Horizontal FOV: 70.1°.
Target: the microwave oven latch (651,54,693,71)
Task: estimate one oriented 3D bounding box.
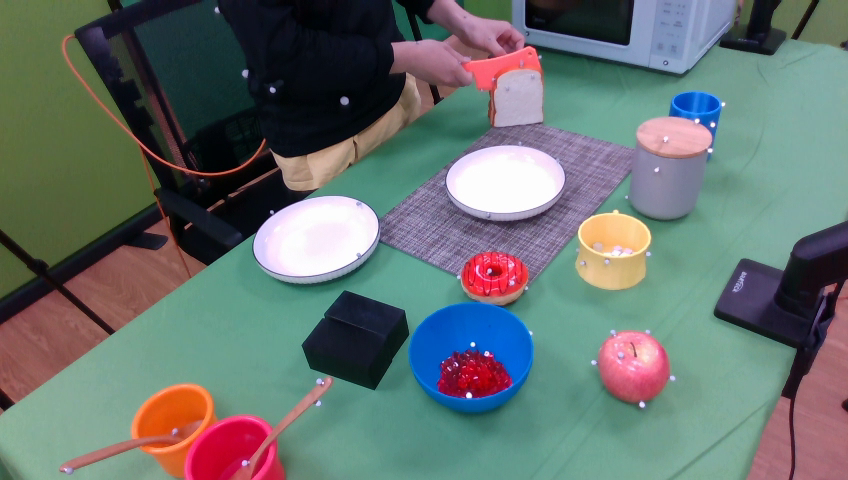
[{"bbox_3d":[0.532,-0.386,1.301,0.078,0.029,0.030,26,51,33],"label":"microwave oven latch"}]

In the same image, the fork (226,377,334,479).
[{"bbox_3d":[-0.163,0.216,0.647,0.207,0.019,0.028,-49,41,16],"label":"fork"}]

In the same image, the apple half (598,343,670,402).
[{"bbox_3d":[0.247,0.161,0.710,0.081,0.075,0.053,2,47,5],"label":"apple half"}]

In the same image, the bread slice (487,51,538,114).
[{"bbox_3d":[0.183,-0.319,1.232,0.107,0.135,0.018,-4,43,0],"label":"bread slice"}]

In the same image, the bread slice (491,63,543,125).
[{"bbox_3d":[0.184,-0.285,1.190,0.105,0.132,0.019,-5,45,3],"label":"bread slice"}]

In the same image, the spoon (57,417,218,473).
[{"bbox_3d":[-0.304,0.221,0.661,0.041,0.195,0.021,19,92,27],"label":"spoon"}]

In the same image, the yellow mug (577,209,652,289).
[{"bbox_3d":[0.279,0.004,0.893,0.099,0.064,0.130,5,41,15],"label":"yellow mug"}]

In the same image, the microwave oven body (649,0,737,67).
[{"bbox_3d":[0.475,-0.602,1.411,0.438,0.261,0.327,23,50,32],"label":"microwave oven body"}]

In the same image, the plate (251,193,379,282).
[{"bbox_3d":[-0.174,-0.001,0.984,0.209,0.038,0.208,-4,40,4],"label":"plate"}]

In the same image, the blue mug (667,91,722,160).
[{"bbox_3d":[0.474,-0.207,1.079,0.082,0.106,0.116,4,42,13],"label":"blue mug"}]

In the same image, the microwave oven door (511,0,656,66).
[{"bbox_3d":[0.351,-0.540,1.349,0.353,0.245,0.039,24,50,31],"label":"microwave oven door"}]

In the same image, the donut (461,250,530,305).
[{"bbox_3d":[0.103,0.053,0.872,0.099,0.048,0.098,-5,40,4],"label":"donut"}]

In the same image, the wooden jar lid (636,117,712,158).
[{"bbox_3d":[0.377,-0.151,0.917,0.108,0.021,0.108,-2,41,3],"label":"wooden jar lid"}]

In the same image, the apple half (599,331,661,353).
[{"bbox_3d":[0.249,0.134,0.738,0.081,0.081,0.032,-2,46,7],"label":"apple half"}]

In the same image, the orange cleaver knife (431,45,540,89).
[{"bbox_3d":[0.121,-0.327,1.164,0.211,0.077,0.012,-6,43,5],"label":"orange cleaver knife"}]

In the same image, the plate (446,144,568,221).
[{"bbox_3d":[0.142,-0.096,1.045,0.207,0.039,0.206,-4,40,4],"label":"plate"}]

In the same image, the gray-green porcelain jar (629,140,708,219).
[{"bbox_3d":[0.383,-0.105,0.958,0.106,0.127,0.105,-4,41,4],"label":"gray-green porcelain jar"}]

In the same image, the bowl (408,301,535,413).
[{"bbox_3d":[0.060,0.156,0.739,0.151,0.077,0.150,-4,40,4],"label":"bowl"}]
